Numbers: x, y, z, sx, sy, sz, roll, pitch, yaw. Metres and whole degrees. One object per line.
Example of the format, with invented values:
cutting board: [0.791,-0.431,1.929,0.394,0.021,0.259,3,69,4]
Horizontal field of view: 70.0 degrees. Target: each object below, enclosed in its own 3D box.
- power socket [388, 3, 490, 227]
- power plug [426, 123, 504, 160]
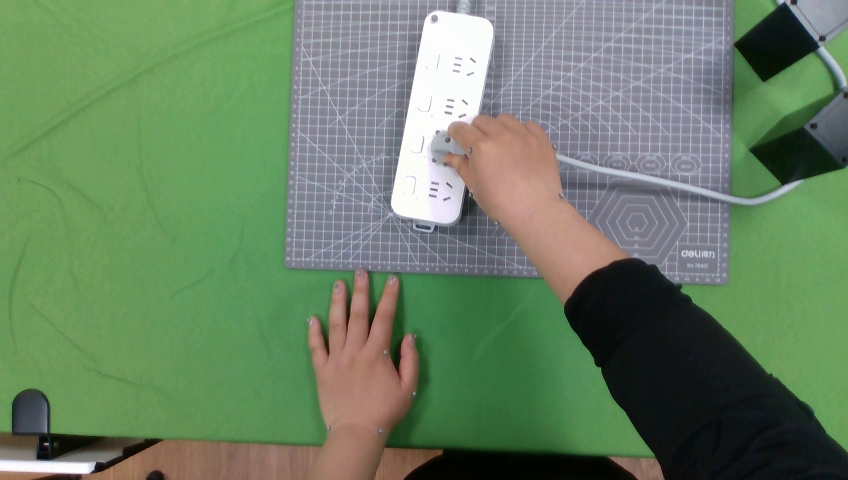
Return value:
power socket: [0.015,-0.126,0.608,0.072,0.032,0.226,10,89,3]
power plug: [0.037,-0.089,0.588,0.072,0.052,0.035,22,90,2]
